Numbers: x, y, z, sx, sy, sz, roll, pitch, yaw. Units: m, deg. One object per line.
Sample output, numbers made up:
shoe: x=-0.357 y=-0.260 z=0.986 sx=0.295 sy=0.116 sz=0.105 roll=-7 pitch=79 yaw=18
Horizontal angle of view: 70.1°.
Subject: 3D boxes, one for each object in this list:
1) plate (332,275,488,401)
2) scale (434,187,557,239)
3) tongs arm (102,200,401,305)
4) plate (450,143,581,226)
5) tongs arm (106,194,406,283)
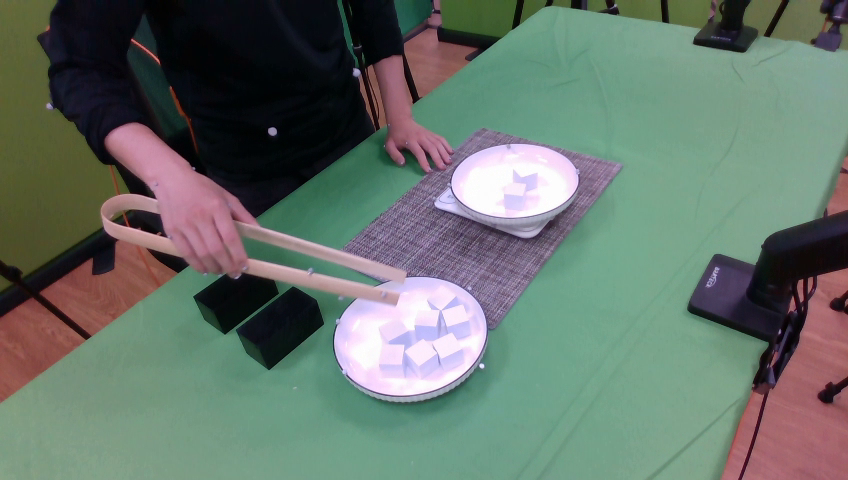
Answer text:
plate: x=-0.017 y=0.131 z=0.808 sx=0.207 sy=0.039 sz=0.206 roll=-4 pitch=41 yaw=4
scale: x=0.132 y=-0.075 z=1.025 sx=0.199 sy=0.032 sz=0.149 roll=22 pitch=48 yaw=30
tongs arm: x=-0.216 y=0.018 z=0.765 sx=0.386 sy=0.026 sz=0.050 roll=13 pitch=46 yaw=-6
plate: x=0.148 y=-0.087 z=0.986 sx=0.209 sy=0.038 sz=0.208 roll=-4 pitch=41 yaw=4
tongs arm: x=-0.212 y=0.000 z=0.784 sx=0.388 sy=0.028 sz=0.028 roll=15 pitch=49 yaw=-3
